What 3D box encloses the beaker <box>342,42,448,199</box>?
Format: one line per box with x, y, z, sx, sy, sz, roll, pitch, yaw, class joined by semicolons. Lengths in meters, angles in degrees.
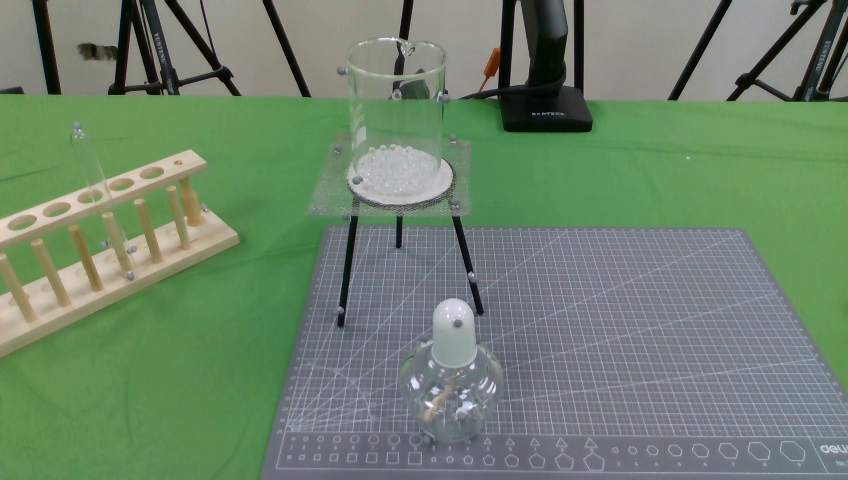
-0.021;-0.090;0.458;0.074;0.101;0.083;8;38;7;beaker

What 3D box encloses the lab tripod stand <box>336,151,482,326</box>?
-0.015;0.001;0.530;0.148;0.132;0.147;1;37;-1;lab tripod stand

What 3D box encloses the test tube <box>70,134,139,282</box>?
-0.278;-0.024;0.531;0.017;0.151;0.017;1;37;0;test tube

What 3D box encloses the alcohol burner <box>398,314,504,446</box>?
0.020;0.091;0.430;0.078;0.120;0.077;1;40;0;alcohol burner

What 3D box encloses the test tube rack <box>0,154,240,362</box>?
-0.303;0.010;0.559;0.242;0.086;0.066;-30;47;-33;test tube rack

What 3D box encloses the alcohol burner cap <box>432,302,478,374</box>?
0.021;0.063;0.408;0.034;0.048;0.033;-2;38;2;alcohol burner cap

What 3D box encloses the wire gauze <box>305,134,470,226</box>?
-0.023;-0.050;0.487;0.121;0.011;0.124;2;40;2;wire gauze
